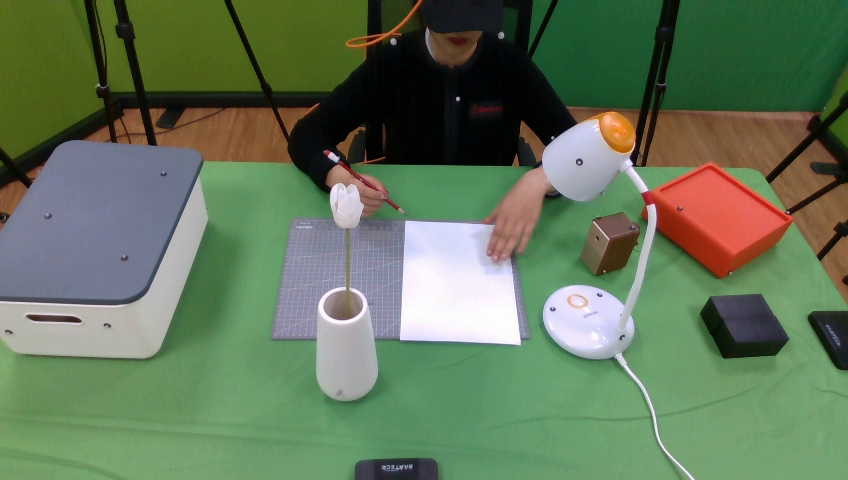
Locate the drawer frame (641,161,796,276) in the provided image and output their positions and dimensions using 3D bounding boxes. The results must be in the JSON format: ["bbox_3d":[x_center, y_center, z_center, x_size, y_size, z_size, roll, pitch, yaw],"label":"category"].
[{"bbox_3d":[0.599,-0.051,1.244,0.202,0.083,0.212,-24,53,-25],"label":"drawer frame"}]

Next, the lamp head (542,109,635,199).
[{"bbox_3d":[0.253,-0.131,0.893,0.113,0.123,0.112,10,66,-24],"label":"lamp head"}]

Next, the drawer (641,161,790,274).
[{"bbox_3d":[0.596,-0.051,1.246,0.194,0.073,0.210,-23,53,-25],"label":"drawer"}]

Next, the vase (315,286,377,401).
[{"bbox_3d":[-0.119,0.159,0.911,0.098,0.201,0.097,2,47,-2],"label":"vase"}]

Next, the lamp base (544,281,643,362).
[{"bbox_3d":[0.303,0.095,1.014,0.161,0.181,0.178,-24,54,-24],"label":"lamp base"}]

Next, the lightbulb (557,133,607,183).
[{"bbox_3d":[0.243,-0.127,0.917,0.059,0.108,0.059,6,67,-13],"label":"lightbulb"}]

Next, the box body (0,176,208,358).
[{"bbox_3d":[-0.546,0.017,1.045,0.254,0.161,0.361,2,46,-2],"label":"box body"}]

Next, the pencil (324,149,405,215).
[{"bbox_3d":[-0.111,-0.108,1.146,0.194,0.012,0.012,39,50,-4],"label":"pencil"}]

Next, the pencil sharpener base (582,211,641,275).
[{"bbox_3d":[0.357,0.005,1.156,0.077,0.107,0.061,-15,48,-18],"label":"pencil sharpener base"}]

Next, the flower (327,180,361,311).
[{"bbox_3d":[-0.111,0.086,0.867,0.044,0.363,0.038,22,33,36],"label":"flower"}]

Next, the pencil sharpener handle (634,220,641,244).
[{"bbox_3d":[0.405,-0.015,1.162,0.031,0.068,0.035,-15,46,-18],"label":"pencil sharpener handle"}]

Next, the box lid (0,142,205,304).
[{"bbox_3d":[-0.533,-0.044,0.995,0.263,0.015,0.369,3,45,-3],"label":"box lid"}]
